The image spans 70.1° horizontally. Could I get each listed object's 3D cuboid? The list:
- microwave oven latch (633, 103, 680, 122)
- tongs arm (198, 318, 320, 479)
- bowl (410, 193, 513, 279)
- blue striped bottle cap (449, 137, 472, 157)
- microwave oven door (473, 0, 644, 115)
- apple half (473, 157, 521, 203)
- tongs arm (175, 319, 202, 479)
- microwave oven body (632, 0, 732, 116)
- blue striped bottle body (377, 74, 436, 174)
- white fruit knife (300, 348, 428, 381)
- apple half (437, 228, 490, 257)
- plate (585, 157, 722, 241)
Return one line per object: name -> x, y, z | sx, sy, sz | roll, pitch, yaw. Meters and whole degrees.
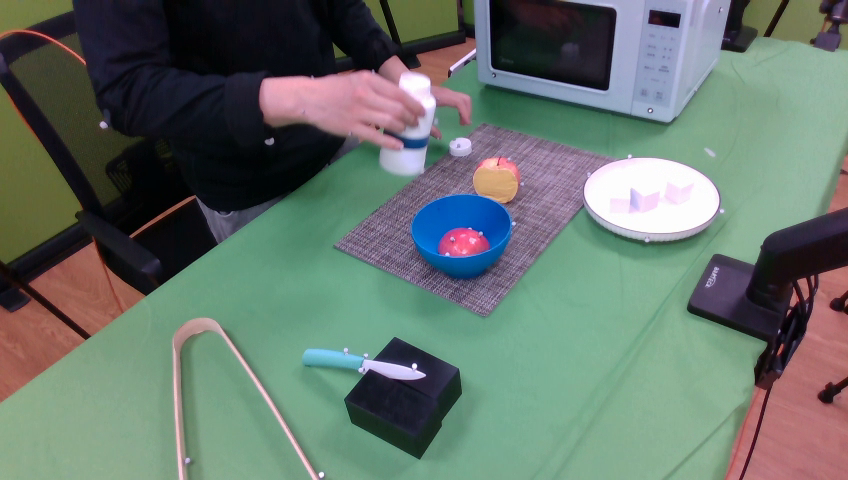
microwave oven latch -> 0.444, -0.249, 1.157 | 0.078, 0.029, 0.030 | 21, 49, 30
tongs arm -> -0.199, 0.208, 0.751 | 0.028, 0.028, 0.384 | -31, 45, -22
bowl -> 0.058, 0.005, 0.905 | 0.151, 0.077, 0.150 | -4, 40, 4
blue striped bottle cap -> 0.070, -0.180, 1.169 | 0.044, 0.021, 0.044 | -5, 41, 5
microwave oven door -> 0.257, -0.396, 1.199 | 0.353, 0.245, 0.039 | 21, 48, 29
apple half -> 0.128, -0.107, 1.030 | 0.080, 0.075, 0.053 | 4, 38, 19
tongs arm -> -0.272, 0.234, 0.723 | 0.051, 0.026, 0.381 | -18, 40, -15
microwave oven body -> 0.377, -0.462, 1.267 | 0.438, 0.261, 0.327 | 21, 48, 30
blue striped bottle body -> -0.022, -0.152, 0.787 | 0.063, 0.121, 0.063 | 10, 33, -6
white fruit knife -> -0.080, 0.154, 0.748 | 0.206, 0.027, 0.016 | 1, 20, 34
apple half -> 0.056, 0.002, 0.901 | 0.081, 0.033, 0.081 | -3, 40, 3
plate -> 0.367, -0.063, 0.979 | 0.207, 0.039, 0.206 | -4, 40, 4
